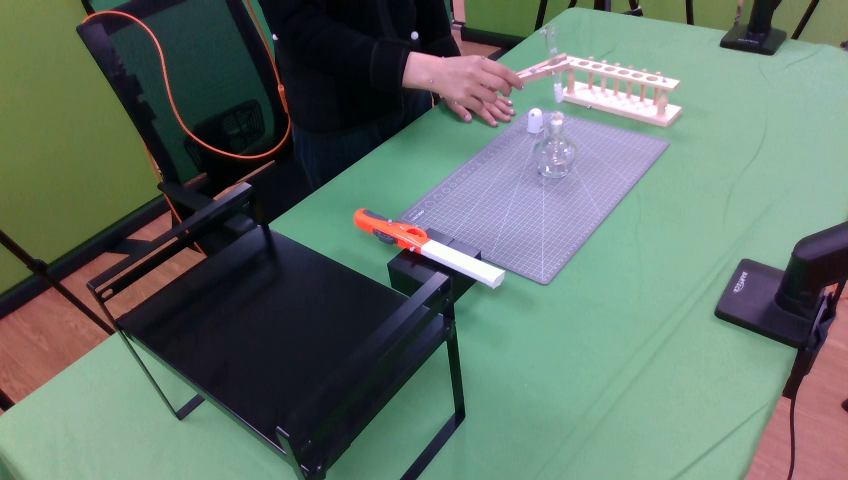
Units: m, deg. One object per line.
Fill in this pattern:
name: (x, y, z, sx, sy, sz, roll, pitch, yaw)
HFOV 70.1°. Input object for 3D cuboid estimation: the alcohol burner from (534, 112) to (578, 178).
alcohol burner: (0.232, -0.170, 1.066, 0.078, 0.119, 0.077, -5, 39, 5)

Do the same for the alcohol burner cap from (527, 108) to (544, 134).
alcohol burner cap: (0.222, -0.239, 1.203, 0.034, 0.048, 0.033, -6, 42, 5)

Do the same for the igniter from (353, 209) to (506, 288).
igniter: (-0.003, 0.006, 0.892, 0.274, 0.025, 0.057, 24, 37, 31)

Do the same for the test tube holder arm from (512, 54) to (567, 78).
test tube holder arm: (0.182, -0.269, 0.954, 0.088, 0.015, 0.010, -22, 52, 5)

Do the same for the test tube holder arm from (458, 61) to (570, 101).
test tube holder arm: (0.141, -0.251, 0.957, 0.178, 0.015, 0.013, -15, 53, 10)

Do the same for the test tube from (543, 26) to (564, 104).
test tube: (0.205, -0.271, 0.950, 0.017, 0.151, 0.017, -10, 54, 14)

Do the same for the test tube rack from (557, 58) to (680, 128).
test tube rack: (0.395, -0.309, 1.230, 0.240, 0.085, 0.067, 25, 50, 33)
